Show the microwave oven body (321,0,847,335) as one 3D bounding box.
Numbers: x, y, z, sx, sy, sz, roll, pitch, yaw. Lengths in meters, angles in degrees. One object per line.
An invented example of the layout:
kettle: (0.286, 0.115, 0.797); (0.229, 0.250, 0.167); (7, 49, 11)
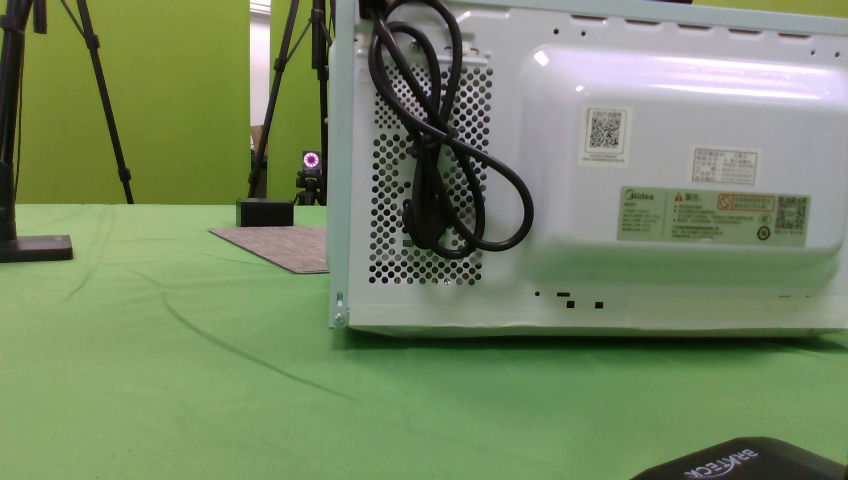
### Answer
microwave oven body: (0.133, -0.062, 0.567); (0.443, 0.260, 0.325); (2, 6, -8)

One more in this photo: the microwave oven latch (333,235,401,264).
microwave oven latch: (-0.065, 0.011, 0.700); (0.079, 0.029, 0.030); (2, 6, -8)

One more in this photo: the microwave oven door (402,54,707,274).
microwave oven door: (0.157, -0.085, 0.717); (0.357, 0.243, 0.039); (1, 8, -8)

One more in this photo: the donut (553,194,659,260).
donut: (0.172, -0.015, 0.575); (0.099, 0.048, 0.099); (-11, 13, 3)

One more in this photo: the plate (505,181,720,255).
plate: (0.184, -0.024, 0.615); (0.209, 0.038, 0.209); (5, 15, -1)
